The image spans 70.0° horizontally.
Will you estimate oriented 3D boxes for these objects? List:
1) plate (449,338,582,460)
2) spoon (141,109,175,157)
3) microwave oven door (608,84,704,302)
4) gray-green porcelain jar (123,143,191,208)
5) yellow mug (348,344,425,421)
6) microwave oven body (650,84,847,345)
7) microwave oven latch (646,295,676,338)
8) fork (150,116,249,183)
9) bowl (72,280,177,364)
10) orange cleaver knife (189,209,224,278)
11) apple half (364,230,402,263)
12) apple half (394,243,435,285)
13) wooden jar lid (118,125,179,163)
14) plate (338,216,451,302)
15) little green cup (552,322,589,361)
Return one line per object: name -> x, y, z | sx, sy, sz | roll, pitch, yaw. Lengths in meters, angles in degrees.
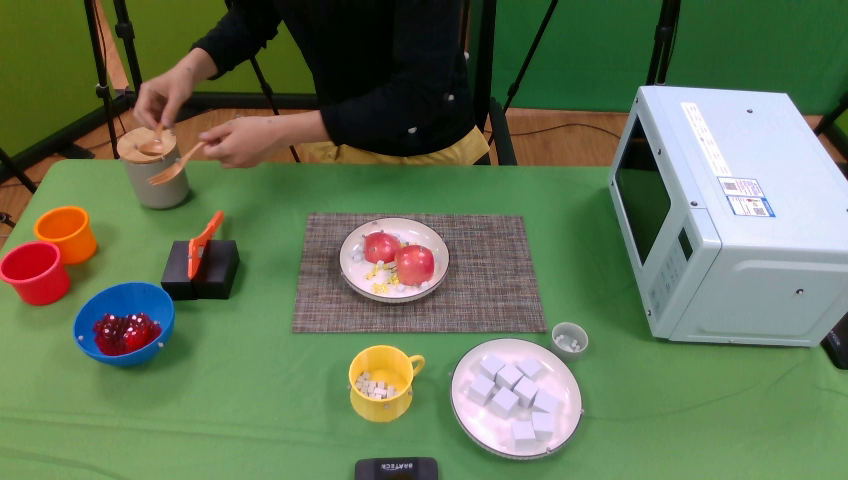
plate -> 0.141, 0.251, 0.956 | 0.208, 0.039, 0.206 | 2, 47, -2
spoon -> -0.457, -0.192, 1.063 | 0.042, 0.022, 0.192 | 4, 37, -13
microwave oven door -> 0.424, -0.096, 1.137 | 0.039, 0.245, 0.353 | 3, 46, -1
gray-green porcelain jar -> -0.530, -0.136, 1.213 | 0.106, 0.127, 0.105 | 2, 46, -2
yellow mug -> -0.054, 0.217, 0.954 | 0.131, 0.064, 0.099 | -24, 53, -25
microwave oven body -> 0.569, -0.054, 1.116 | 0.326, 0.261, 0.439 | 2, 46, -1
microwave oven latch -> 0.413, 0.133, 1.060 | 0.030, 0.029, 0.078 | 4, 46, 1
fork -> -0.384, -0.159, 1.052 | 0.028, 0.019, 0.207 | 26, 59, 34
bowl -> -0.472, 0.147, 0.982 | 0.151, 0.077, 0.150 | 2, 46, -2
orange cleaver knife -> -0.401, 0.002, 1.122 | 0.012, 0.077, 0.210 | 5, 22, -5
apple half -> -0.079, 0.004, 1.159 | 0.081, 0.033, 0.081 | 3, 49, -3
apple half -> -0.017, 0.036, 1.121 | 0.075, 0.053, 0.080 | 1, 46, -6
wooden jar lid -> -0.528, -0.181, 1.167 | 0.108, 0.021, 0.107 | 4, 48, -4
plate -> -0.054, 0.038, 1.138 | 0.209, 0.038, 0.208 | 2, 46, -2
little green cup -> 0.247, 0.175, 1.033 | 0.061, 0.039, 0.061 | 1, 45, -1
